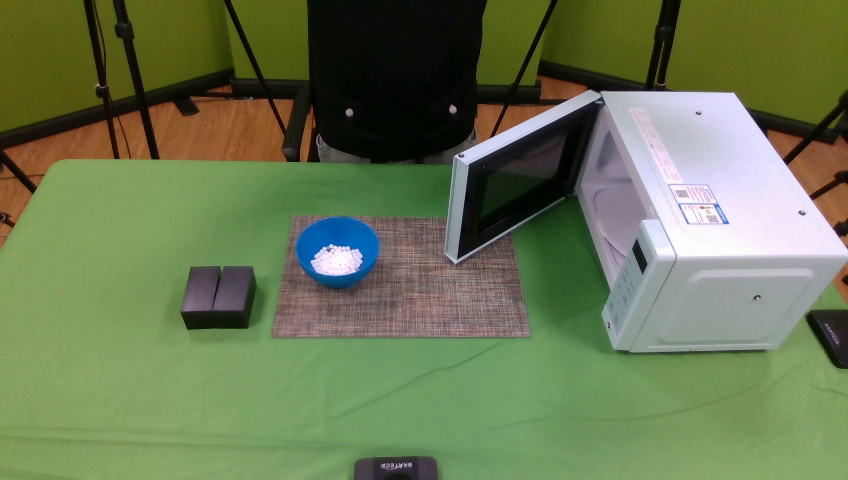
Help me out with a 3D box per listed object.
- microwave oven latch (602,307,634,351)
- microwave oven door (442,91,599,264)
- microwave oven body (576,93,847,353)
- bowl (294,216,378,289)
[{"bbox_3d":[0.332,0.153,1.044,0.030,0.029,0.078,0,45,-3],"label":"microwave oven latch"},{"bbox_3d":[0.187,-0.123,1.160,0.356,0.245,0.039,-29,55,-28],"label":"microwave oven door"},{"bbox_3d":[0.475,-0.041,1.109,0.326,0.261,0.438,-1,45,-4],"label":"microwave oven body"},{"bbox_3d":[-0.158,0.036,1.110,0.151,0.077,0.150,3,45,-2],"label":"bowl"}]
